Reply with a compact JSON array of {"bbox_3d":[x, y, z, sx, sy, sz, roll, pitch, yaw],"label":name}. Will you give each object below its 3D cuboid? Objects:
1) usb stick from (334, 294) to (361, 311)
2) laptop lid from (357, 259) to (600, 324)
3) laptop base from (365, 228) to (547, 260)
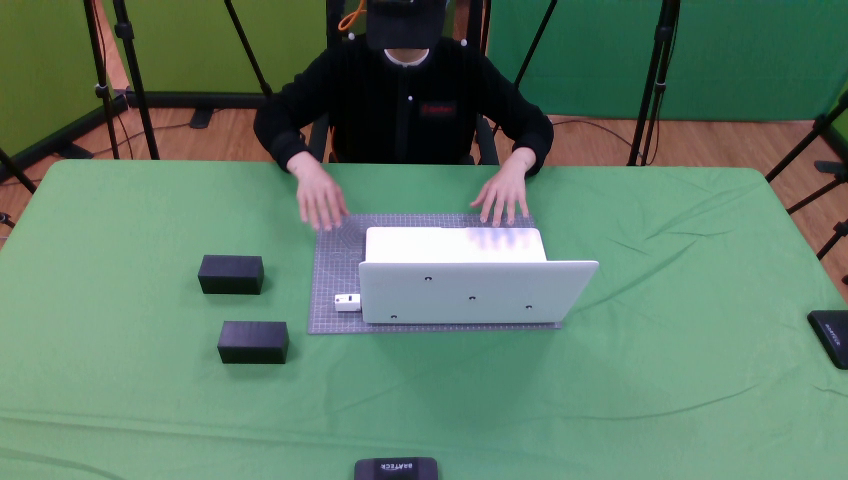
[{"bbox_3d":[-0.128,0.111,1.066,0.059,0.027,0.021,2,45,-5],"label":"usb stick"},{"bbox_3d":[0.075,0.087,0.959,0.357,0.242,0.013,1,60,-5],"label":"laptop lid"},{"bbox_3d":[0.064,0.062,1.144,0.355,0.023,0.234,0,42,-4],"label":"laptop base"}]
